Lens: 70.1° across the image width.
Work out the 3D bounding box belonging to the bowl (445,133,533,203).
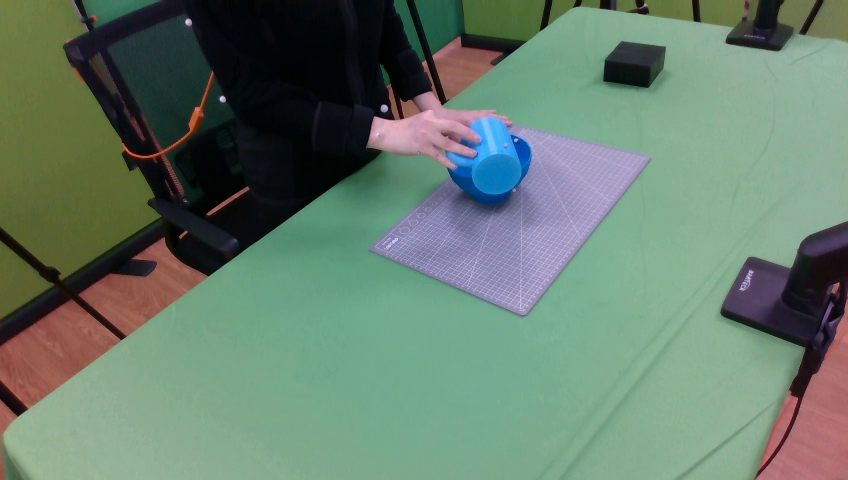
[{"bbox_3d":[0.115,-0.118,1.056,0.151,0.077,0.150,-6,40,5],"label":"bowl"}]

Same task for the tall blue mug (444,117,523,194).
[{"bbox_3d":[0.095,-0.140,0.944,0.077,0.108,0.107,-45,32,28],"label":"tall blue mug"}]
